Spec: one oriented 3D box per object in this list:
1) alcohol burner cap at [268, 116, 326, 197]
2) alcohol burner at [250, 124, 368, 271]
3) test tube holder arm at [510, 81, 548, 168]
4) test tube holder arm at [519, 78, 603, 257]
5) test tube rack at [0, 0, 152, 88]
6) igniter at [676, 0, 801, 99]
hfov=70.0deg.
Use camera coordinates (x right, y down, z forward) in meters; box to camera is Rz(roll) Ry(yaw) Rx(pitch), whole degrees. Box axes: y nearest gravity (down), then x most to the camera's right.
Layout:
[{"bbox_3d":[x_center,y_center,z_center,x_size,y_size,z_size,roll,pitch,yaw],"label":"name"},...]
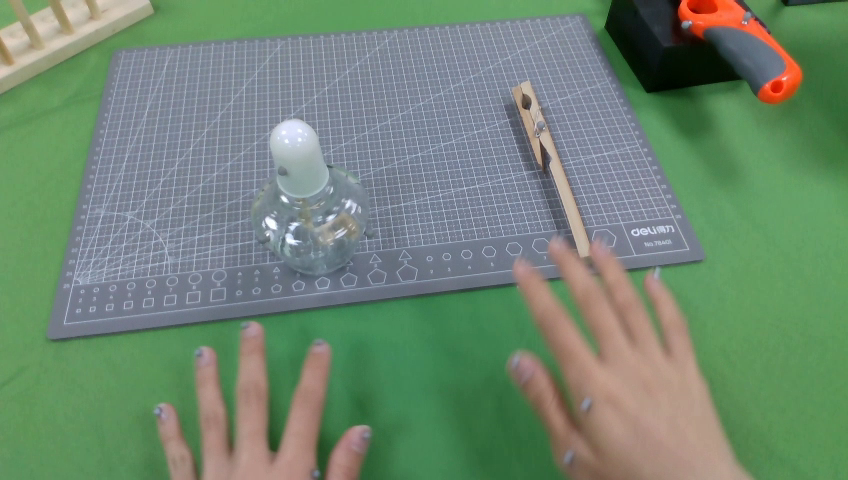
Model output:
[{"bbox_3d":[-0.078,-0.052,0.360,0.034,0.048,0.033,1,58,-1],"label":"alcohol burner cap"},{"bbox_3d":[-0.076,-0.032,0.389,0.078,0.120,0.077,0,57,0],"label":"alcohol burner"},{"bbox_3d":[0.088,-0.096,0.498,0.010,0.015,0.087,-30,54,24],"label":"test tube holder arm"},{"bbox_3d":[0.102,-0.062,0.471,0.013,0.015,0.176,-31,53,22],"label":"test tube holder arm"},{"bbox_3d":[-0.369,-0.194,0.517,0.066,0.086,0.242,35,61,21],"label":"test tube rack"},{"bbox_3d":[0.235,-0.214,0.523,0.057,0.025,0.273,-13,54,-7],"label":"igniter"}]
